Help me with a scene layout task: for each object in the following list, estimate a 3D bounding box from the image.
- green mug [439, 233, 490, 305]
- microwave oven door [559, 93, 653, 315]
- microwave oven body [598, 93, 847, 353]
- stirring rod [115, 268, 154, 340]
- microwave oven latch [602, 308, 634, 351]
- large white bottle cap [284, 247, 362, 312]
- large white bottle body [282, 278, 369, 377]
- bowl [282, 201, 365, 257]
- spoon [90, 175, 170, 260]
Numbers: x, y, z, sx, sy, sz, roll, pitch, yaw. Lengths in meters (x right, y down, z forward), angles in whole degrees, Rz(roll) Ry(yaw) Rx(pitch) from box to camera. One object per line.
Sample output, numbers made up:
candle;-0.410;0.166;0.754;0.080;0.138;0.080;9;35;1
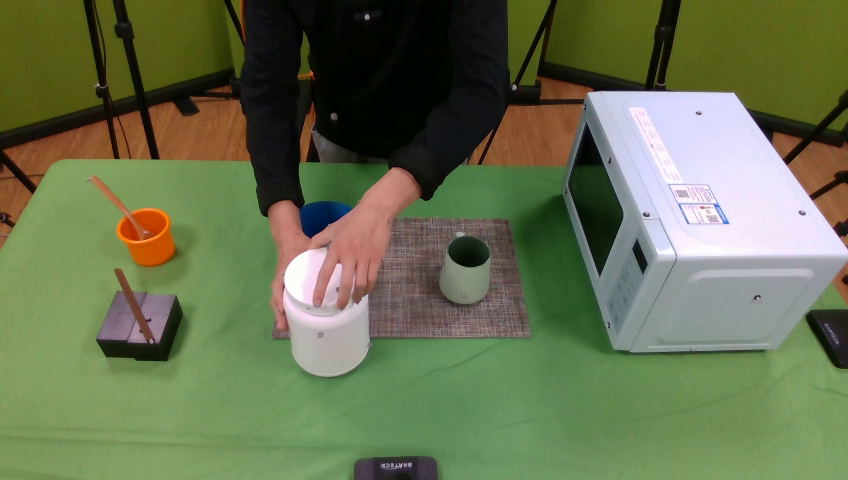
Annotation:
green mug;0.072;0.044;1.101;0.092;0.105;0.124;-6;46;-9
microwave oven door;0.327;-0.074;1.123;0.039;0.245;0.353;-1;46;-5
microwave oven body;0.475;-0.041;1.109;0.326;0.261;0.438;-1;45;-4
stirring rod;-0.479;0.102;0.999;0.014;0.006;0.175;8;32;-49
microwave oven latch;0.332;0.153;1.044;0.030;0.029;0.078;-1;45;-4
large white bottle cap;-0.149;0.057;0.896;0.115;0.018;0.114;2;45;-2
large white bottle body;-0.153;0.115;0.958;0.131;0.185;0.130;2;46;-2
bowl;-0.187;0.005;1.138;0.151;0.077;0.150;3;46;-3
spoon;-0.539;-0.042;1.111;0.021;0.194;0.041;-15;25;51
